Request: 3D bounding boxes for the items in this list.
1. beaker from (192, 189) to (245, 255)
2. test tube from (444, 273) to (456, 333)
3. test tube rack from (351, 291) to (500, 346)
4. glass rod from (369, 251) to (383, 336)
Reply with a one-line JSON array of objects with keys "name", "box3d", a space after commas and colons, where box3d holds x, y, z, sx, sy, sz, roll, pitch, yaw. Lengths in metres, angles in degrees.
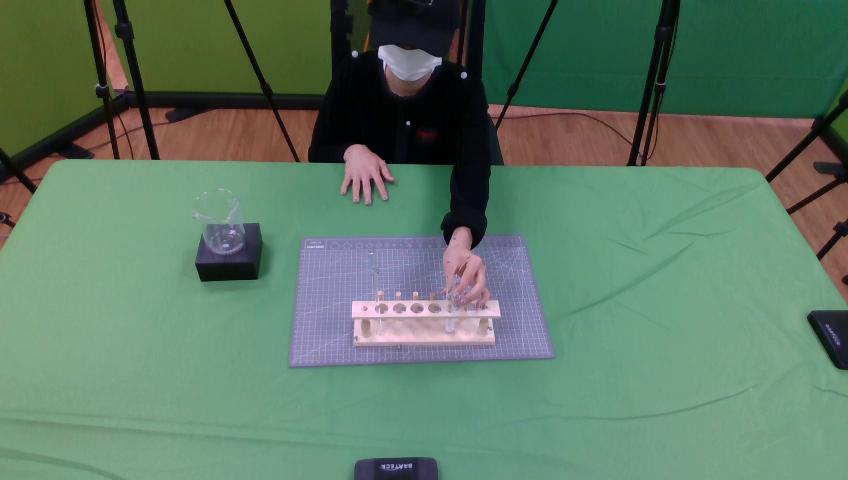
[{"name": "beaker", "box3d": [-0.359, -0.028, 1.073, 0.074, 0.101, 0.083, -25, 53, -25]}, {"name": "test tube", "box3d": [0.042, 0.105, 0.979, 0.017, 0.151, 0.017, 0, 48, 1]}, {"name": "test tube rack", "box3d": [0.000, 0.129, 1.025, 0.242, 0.085, 0.066, 0, 46, -4]}, {"name": "glass rod", "box3d": [-0.075, 0.090, 0.964, 0.008, 0.201, 0.008, -1, 44, 1]}]
